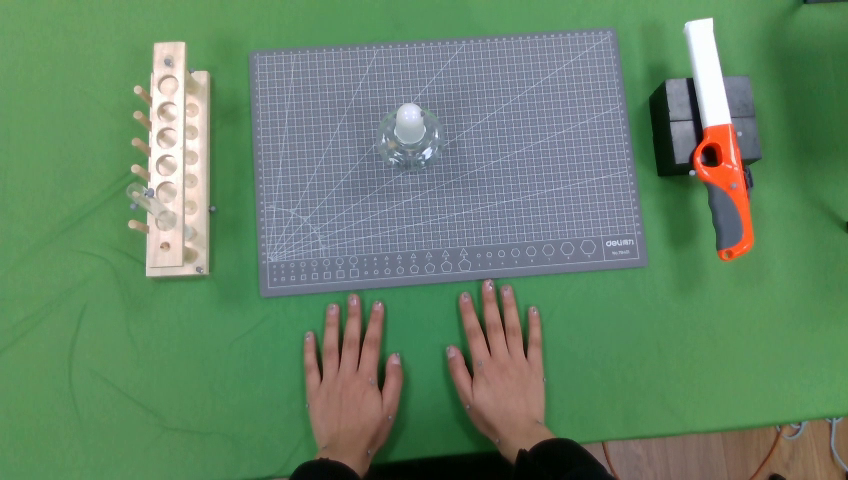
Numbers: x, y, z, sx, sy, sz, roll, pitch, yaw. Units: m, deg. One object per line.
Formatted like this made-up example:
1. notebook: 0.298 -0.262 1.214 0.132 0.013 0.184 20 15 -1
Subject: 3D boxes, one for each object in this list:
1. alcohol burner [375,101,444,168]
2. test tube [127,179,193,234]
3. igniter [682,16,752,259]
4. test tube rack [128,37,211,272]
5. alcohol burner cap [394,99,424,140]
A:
1. alcohol burner: -0.016 -0.121 0.665 0.078 0.119 0.077 0 82 -1
2. test tube: -0.262 -0.030 0.611 0.017 0.151 0.017 1 76 -3
3. igniter: 0.324 -0.116 0.674 0.057 0.025 0.275 -7 81 9
4. test tube rack: -0.283 -0.090 0.669 0.067 0.085 0.241 -2 82 -2
5. alcohol burner cap: -0.015 -0.128 0.630 0.034 0.048 0.033 1 74 -2
